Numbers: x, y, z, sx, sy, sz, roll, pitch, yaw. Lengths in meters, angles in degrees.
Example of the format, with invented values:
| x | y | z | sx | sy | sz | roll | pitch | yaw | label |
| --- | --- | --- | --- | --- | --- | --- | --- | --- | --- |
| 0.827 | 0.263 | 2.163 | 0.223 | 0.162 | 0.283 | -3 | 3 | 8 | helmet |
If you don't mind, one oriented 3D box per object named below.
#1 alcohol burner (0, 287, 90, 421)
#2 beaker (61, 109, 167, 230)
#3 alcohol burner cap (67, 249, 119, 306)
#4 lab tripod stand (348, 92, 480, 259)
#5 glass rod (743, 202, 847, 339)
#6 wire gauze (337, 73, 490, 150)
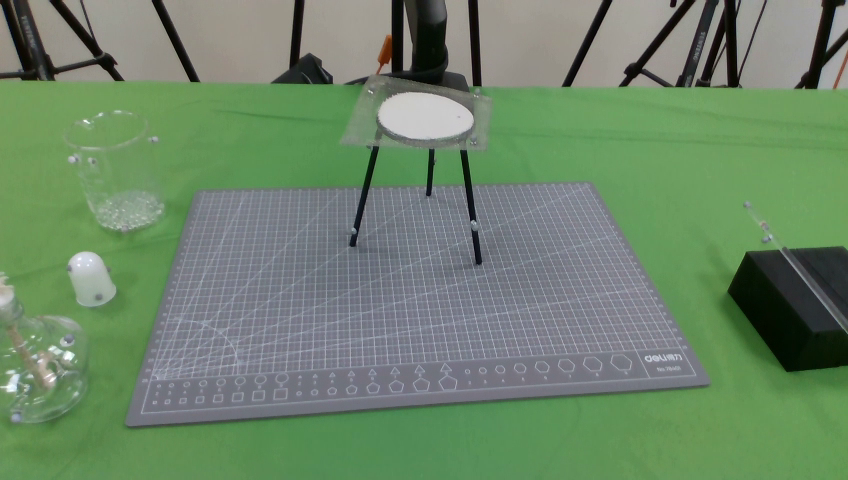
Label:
| x | y | z | sx | sy | sz | roll | pitch | yaw | label |
| --- | --- | --- | --- | --- | --- | --- | --- | --- | --- |
| -0.278 | 0.069 | 0.416 | 0.078 | 0.120 | 0.077 | 1 | 40 | 0 | alcohol burner |
| -0.299 | -0.068 | 0.592 | 0.083 | 0.101 | 0.074 | 27 | 44 | 27 | beaker |
| -0.286 | 0.030 | 0.520 | 0.034 | 0.048 | 0.033 | 2 | 39 | -1 | alcohol burner cap |
| 0.000 | -0.061 | 0.580 | 0.148 | 0.132 | 0.147 | 4 | 39 | -3 | lab tripod stand |
| 0.327 | 0.027 | 0.530 | 0.008 | 0.008 | 0.197 | 0 | 40 | -5 | glass rod |
| -0.003 | -0.113 | 0.537 | 0.121 | 0.011 | 0.124 | 8 | 39 | 3 | wire gauze |
